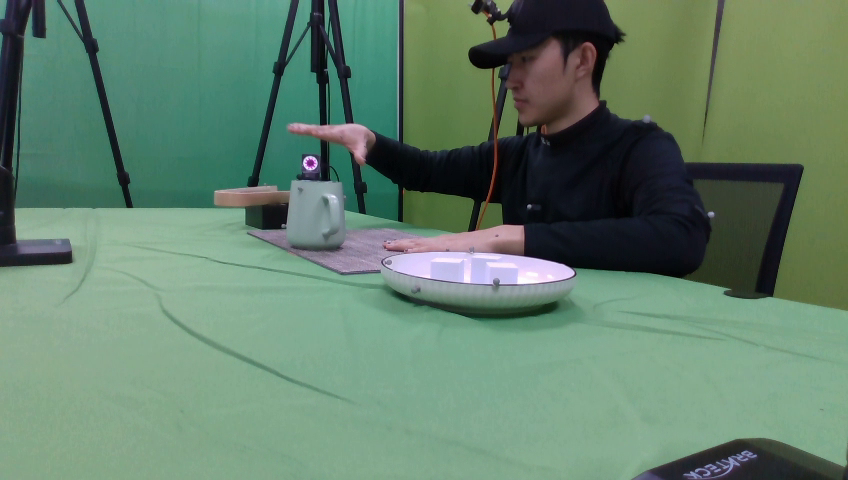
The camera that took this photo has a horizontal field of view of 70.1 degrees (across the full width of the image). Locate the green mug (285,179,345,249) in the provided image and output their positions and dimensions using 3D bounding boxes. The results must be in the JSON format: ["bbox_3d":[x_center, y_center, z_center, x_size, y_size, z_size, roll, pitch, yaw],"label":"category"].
[{"bbox_3d":[-0.161,-0.040,0.937,0.093,0.105,0.124,-2,8,-32],"label":"green mug"}]

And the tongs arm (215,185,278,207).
[{"bbox_3d":[-0.362,-0.098,1.297,0.051,0.026,0.385,7,7,6],"label":"tongs arm"}]

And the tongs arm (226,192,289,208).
[{"bbox_3d":[-0.285,-0.091,1.284,0.028,0.028,0.389,12,9,18],"label":"tongs arm"}]

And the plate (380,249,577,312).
[{"bbox_3d":[0.056,0.042,0.646,0.209,0.038,0.209,2,7,0],"label":"plate"}]
